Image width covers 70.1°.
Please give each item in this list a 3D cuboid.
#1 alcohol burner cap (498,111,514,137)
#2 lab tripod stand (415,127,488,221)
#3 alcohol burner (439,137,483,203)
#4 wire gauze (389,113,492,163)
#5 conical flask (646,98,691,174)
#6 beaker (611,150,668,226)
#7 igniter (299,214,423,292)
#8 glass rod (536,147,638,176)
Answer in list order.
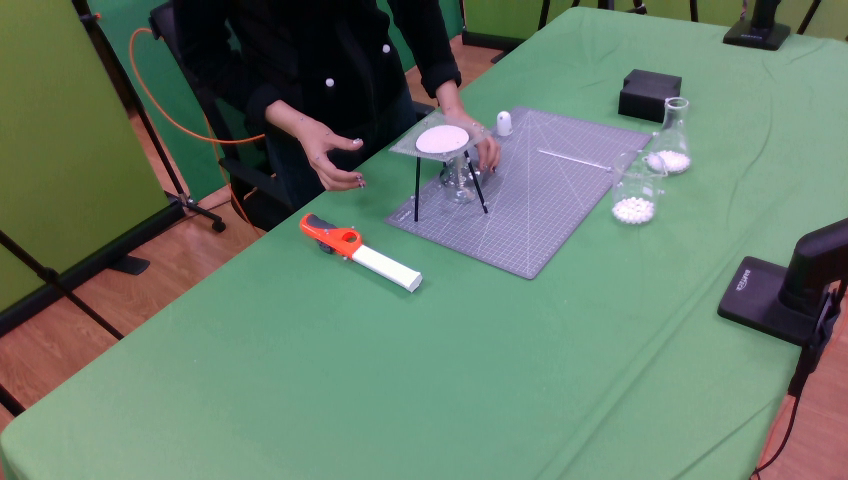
[{"bbox_3d":[0.163,-0.235,1.211,0.034,0.048,0.033,-6,40,6],"label":"alcohol burner cap"},{"bbox_3d":[0.036,-0.115,1.021,0.148,0.132,0.147,-7,39,6],"label":"lab tripod stand"},{"bbox_3d":[0.063,-0.124,1.043,0.078,0.119,0.077,-6,38,5],"label":"alcohol burner"},{"bbox_3d":[0.026,-0.164,0.977,0.120,0.011,0.125,24,49,35],"label":"wire gauze"},{"bbox_3d":[0.426,-0.180,1.037,0.075,0.122,0.075,-5,40,5],"label":"conical flask"},{"bbox_3d":[0.337,-0.079,0.953,0.083,0.101,0.074,25,51,33],"label":"beaker"},{"bbox_3d":[-0.112,0.016,0.983,0.274,0.025,0.057,26,62,35],"label":"igniter"},{"bbox_3d":[0.294,-0.145,1.104,0.198,0.008,0.008,22,50,31],"label":"glass rod"}]
